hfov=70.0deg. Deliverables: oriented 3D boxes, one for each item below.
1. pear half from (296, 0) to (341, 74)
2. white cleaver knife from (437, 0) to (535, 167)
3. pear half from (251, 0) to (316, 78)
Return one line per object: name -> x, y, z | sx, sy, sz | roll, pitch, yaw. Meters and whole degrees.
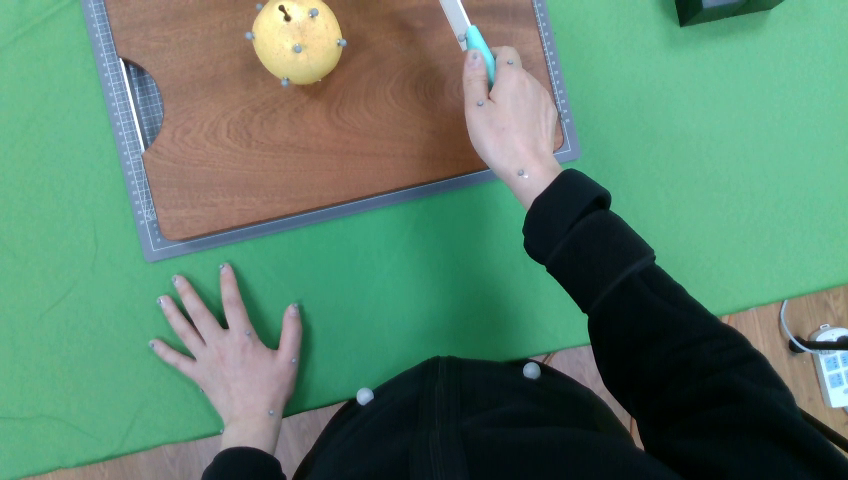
pear half -> -0.091, -0.188, 0.539 | 0.031, 0.088, 0.070 | -11, 85, -3
white cleaver knife -> 0.030, -0.195, 0.522 | 0.021, 0.065, 0.288 | -27, 103, -3
pear half -> -0.125, -0.184, 0.527 | 0.056, 0.110, 0.076 | -11, 86, -2
